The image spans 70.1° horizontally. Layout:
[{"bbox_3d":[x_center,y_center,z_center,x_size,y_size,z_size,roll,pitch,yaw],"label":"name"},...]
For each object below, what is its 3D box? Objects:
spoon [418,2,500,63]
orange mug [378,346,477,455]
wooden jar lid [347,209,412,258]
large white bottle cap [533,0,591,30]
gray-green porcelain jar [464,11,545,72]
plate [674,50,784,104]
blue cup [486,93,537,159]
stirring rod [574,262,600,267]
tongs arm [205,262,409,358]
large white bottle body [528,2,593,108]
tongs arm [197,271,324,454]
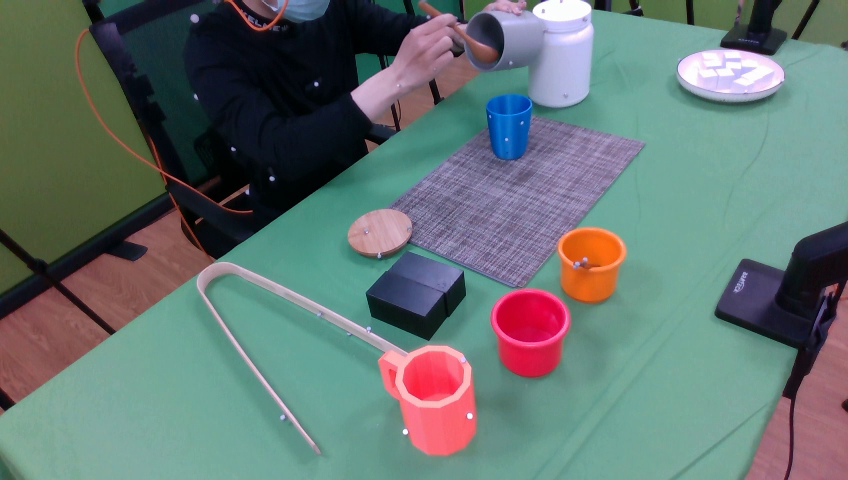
[{"bbox_3d":[0.062,-0.360,1.056,0.041,0.195,0.021,-21,54,44],"label":"spoon"},{"bbox_3d":[0.002,0.179,0.708,0.125,0.101,0.083,25,50,27],"label":"orange mug"},{"bbox_3d":[-0.071,-0.010,0.997,0.108,0.021,0.108,-5,44,5],"label":"wooden jar lid"},{"bbox_3d":[0.274,-0.450,1.204,0.115,0.018,0.114,-4,41,4],"label":"large white bottle cap"},{"bbox_3d":[0.157,-0.376,1.141,0.127,0.106,0.105,-19,39,-39],"label":"gray-green porcelain jar"},{"bbox_3d":[0.631,-0.336,1.262,0.207,0.039,0.206,-4,41,4],"label":"plate"},{"bbox_3d":[0.160,-0.209,1.129,0.092,0.100,0.092,-4,39,3],"label":"blue cup"},{"bbox_3d":[0.222,0.033,0.816,0.014,0.006,0.177,8,1,22],"label":"stirring rod"},{"bbox_3d":[-0.179,0.106,0.870,0.382,0.027,0.051,23,55,32],"label":"tongs arm"},{"bbox_3d":[0.283,-0.386,1.259,0.130,0.185,0.130,-4,41,4],"label":"large white bottle body"},{"bbox_3d":[-0.236,0.155,0.831,0.028,0.028,0.384,-37,48,-17],"label":"tongs arm"}]
